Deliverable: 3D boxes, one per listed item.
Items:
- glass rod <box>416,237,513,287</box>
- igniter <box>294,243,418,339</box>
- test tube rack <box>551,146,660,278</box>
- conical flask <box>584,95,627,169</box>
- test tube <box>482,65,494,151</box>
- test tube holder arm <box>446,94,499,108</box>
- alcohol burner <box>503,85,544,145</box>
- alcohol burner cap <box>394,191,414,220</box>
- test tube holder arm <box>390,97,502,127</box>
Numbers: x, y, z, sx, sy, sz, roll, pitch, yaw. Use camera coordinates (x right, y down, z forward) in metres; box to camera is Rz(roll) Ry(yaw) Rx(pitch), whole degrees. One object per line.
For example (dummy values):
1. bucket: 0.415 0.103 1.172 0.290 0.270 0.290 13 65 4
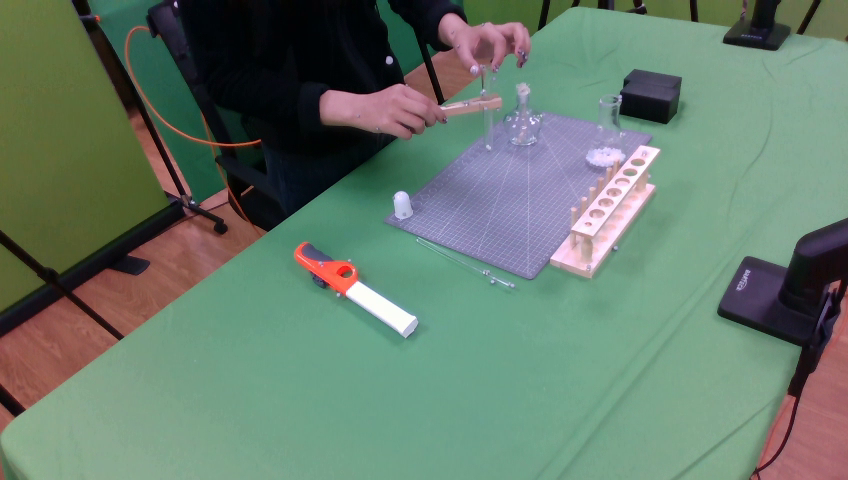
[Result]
1. glass rod: 0.058 0.033 0.944 0.198 0.008 0.008 26 52 38
2. igniter: -0.114 0.070 0.919 0.274 0.025 0.057 29 63 37
3. test tube rack: 0.286 -0.053 0.943 0.066 0.085 0.243 21 49 32
4. conical flask: 0.324 -0.192 1.066 0.075 0.122 0.075 -6 40 5
5. test tube: 0.102 -0.207 0.962 0.017 0.151 0.017 -4 42 4
6. test tube holder arm: 0.076 -0.213 0.952 0.088 0.015 0.010 -17 38 -14
7. alcohol burner: 0.191 -0.243 1.160 0.078 0.119 0.077 -4 40 4
8. alcohol burner cap: -0.037 -0.062 1.045 0.034 0.048 0.033 -5 40 5
9. test tube holder arm: 0.035 -0.199 0.940 0.179 0.015 0.013 -13 36 -9
